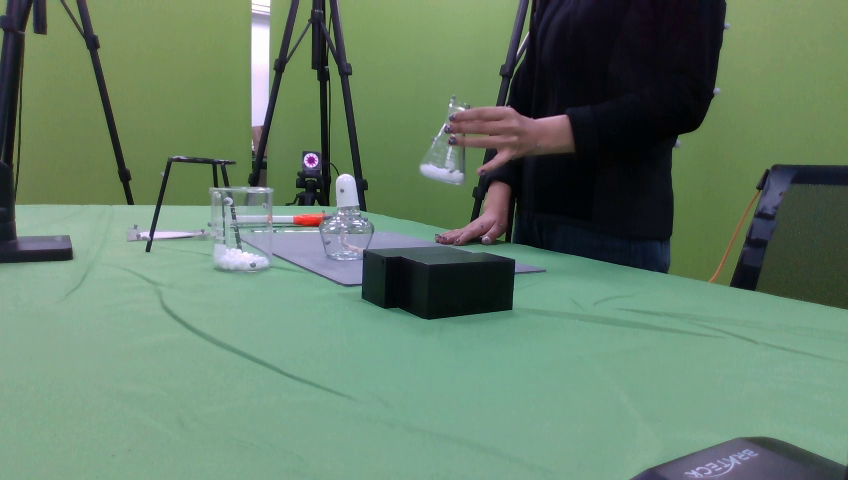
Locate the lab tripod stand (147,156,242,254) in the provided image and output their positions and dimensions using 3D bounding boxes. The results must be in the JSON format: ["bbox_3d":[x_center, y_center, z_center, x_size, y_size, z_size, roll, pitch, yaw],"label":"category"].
[{"bbox_3d":[-0.310,-0.050,0.858,0.148,0.131,0.148,4,6,0],"label":"lab tripod stand"}]

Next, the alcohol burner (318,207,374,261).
[{"bbox_3d":[-0.107,-0.032,0.833,0.078,0.119,0.078,1,6,0],"label":"alcohol burner"}]

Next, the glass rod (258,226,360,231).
[{"bbox_3d":[-0.215,-0.022,1.151,0.201,0.008,0.008,-2,8,-27],"label":"glass rod"}]

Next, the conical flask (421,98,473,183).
[{"bbox_3d":[0.043,-0.152,0.925,0.075,0.122,0.075,12,10,-2],"label":"conical flask"}]

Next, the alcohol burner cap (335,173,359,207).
[{"bbox_3d":[-0.108,-0.068,0.829,0.034,0.048,0.034,-7,4,1],"label":"alcohol burner cap"}]

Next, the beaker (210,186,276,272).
[{"bbox_3d":[-0.224,-0.014,0.738,0.084,0.100,0.074,4,7,16],"label":"beaker"}]

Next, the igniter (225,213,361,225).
[{"bbox_3d":[-0.257,-0.042,1.221,0.278,0.025,0.057,-2,-2,-32],"label":"igniter"}]

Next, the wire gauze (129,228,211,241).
[{"bbox_3d":[-0.419,-0.010,0.999,0.122,0.011,0.124,0,6,-25],"label":"wire gauze"}]
